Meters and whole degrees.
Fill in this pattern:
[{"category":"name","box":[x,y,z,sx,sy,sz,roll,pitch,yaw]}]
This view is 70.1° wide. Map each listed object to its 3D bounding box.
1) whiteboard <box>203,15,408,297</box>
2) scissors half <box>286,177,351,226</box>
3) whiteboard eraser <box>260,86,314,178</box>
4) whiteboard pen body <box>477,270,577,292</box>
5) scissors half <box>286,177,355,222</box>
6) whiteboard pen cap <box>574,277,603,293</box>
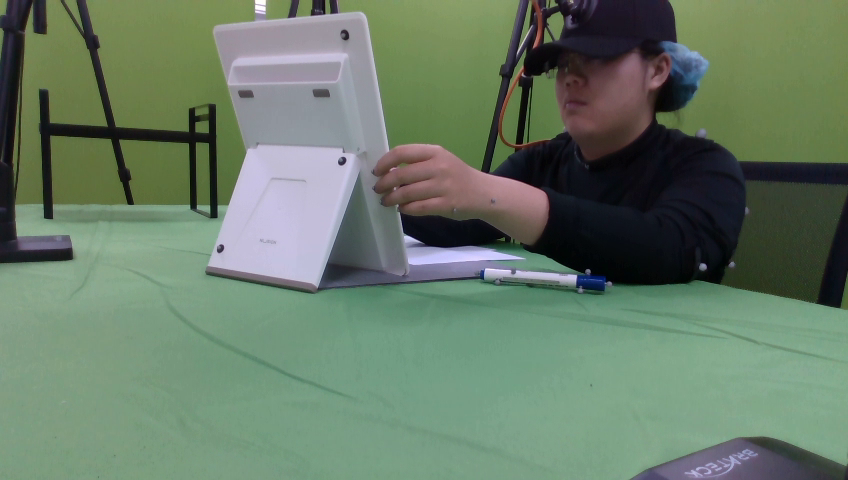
[{"category":"whiteboard","box":[-0.166,-0.072,0.668,0.216,0.305,0.144,8,30,30]},{"category":"scissors half","box":[-0.232,-0.085,1.318,0.175,0.013,0.040,38,19,4]},{"category":"whiteboard eraser","box":[-0.173,-0.135,0.758,0.055,0.112,0.042,11,28,24]},{"category":"whiteboard pen body","box":[0.131,0.049,0.706,0.140,0.017,0.017,5,8,18]},{"category":"scissors half","box":[-0.229,-0.091,1.337,0.175,0.013,0.040,33,14,-13]},{"category":"whiteboard pen cap","box":[0.186,0.051,0.687,0.033,0.018,0.018,5,8,17]}]
